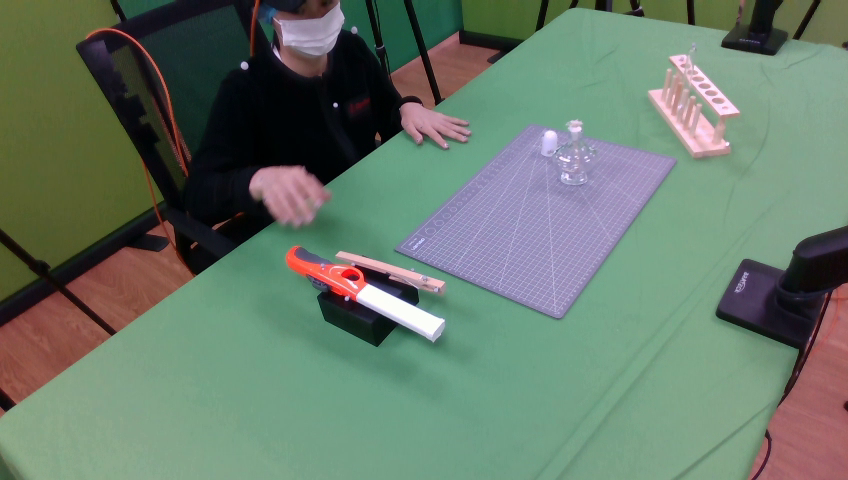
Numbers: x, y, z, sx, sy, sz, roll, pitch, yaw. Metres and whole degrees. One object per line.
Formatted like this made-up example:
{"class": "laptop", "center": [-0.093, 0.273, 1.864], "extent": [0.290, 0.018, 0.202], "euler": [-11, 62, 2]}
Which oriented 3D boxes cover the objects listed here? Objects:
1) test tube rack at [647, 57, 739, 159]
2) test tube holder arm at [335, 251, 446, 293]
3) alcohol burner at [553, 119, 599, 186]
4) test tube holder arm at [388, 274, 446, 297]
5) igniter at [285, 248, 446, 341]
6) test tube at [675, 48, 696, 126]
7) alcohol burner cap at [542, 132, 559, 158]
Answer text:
{"class": "test tube rack", "center": [0.504, -0.257, 1.153], "extent": [0.067, 0.085, 0.241], "euler": [-7, 40, 1]}
{"class": "test tube holder arm", "center": [-0.050, 0.043, 0.853], "extent": [0.177, 0.013, 0.015], "euler": [17, 40, 24]}
{"class": "alcohol burner", "center": [0.261, -0.153, 1.042], "extent": [0.078, 0.119, 0.077], "euler": [-6, 40, 6]}
{"class": "test tube holder arm", "center": [-0.010, 0.060, 0.838], "extent": [0.087, 0.010, 0.015], "euler": [18, 40, 24]}
{"class": "igniter", "center": [-0.091, 0.069, 0.831], "extent": [0.274, 0.025, 0.057], "euler": [22, 47, 27]}
{"class": "test tube", "center": [0.481, -0.279, 1.112], "extent": [0.017, 0.151, 0.017], "euler": [-5, 40, 5]}
{"class": "alcohol burner cap", "center": [0.238, -0.180, 1.134], "extent": [0.034, 0.048, 0.033], "euler": [-5, 41, 5]}
